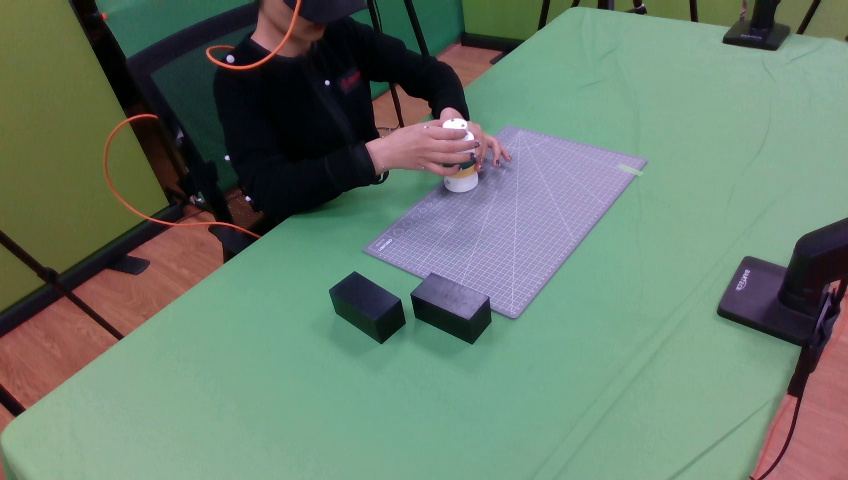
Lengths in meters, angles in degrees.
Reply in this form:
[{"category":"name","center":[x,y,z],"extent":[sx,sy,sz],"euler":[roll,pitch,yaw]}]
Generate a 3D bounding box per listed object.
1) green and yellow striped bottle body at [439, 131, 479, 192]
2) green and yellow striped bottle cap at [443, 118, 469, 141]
[{"category":"green and yellow striped bottle body","center":[0.061,-0.149,1.066],"extent":[0.063,0.120,0.063],"euler":[-5,40,5]},{"category":"green and yellow striped bottle cap","center":[0.054,-0.189,1.032],"extent":[0.045,0.020,0.045],"euler":[-6,43,6]}]
